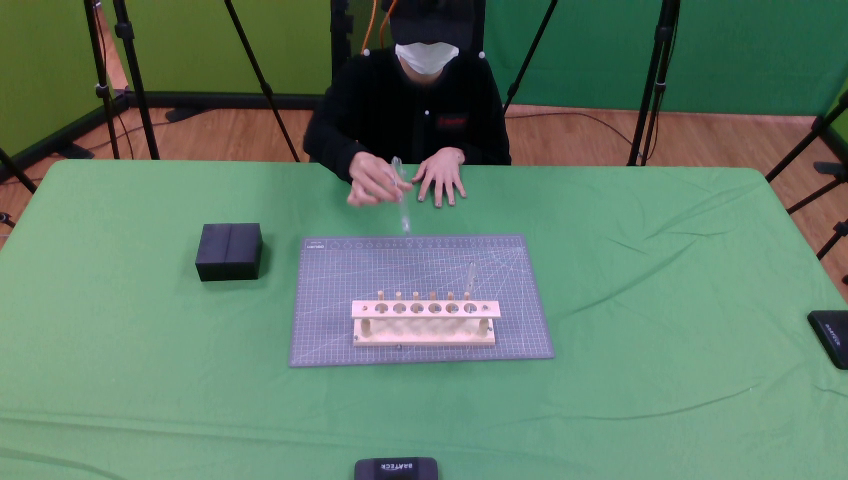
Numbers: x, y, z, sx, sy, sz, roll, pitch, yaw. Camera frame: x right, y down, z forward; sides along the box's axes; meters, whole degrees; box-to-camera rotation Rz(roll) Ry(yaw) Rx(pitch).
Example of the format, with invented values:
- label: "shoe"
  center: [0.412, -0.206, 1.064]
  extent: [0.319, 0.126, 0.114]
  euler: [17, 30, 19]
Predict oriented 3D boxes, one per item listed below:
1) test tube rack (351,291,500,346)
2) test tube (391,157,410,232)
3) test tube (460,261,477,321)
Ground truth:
- label: "test tube rack"
  center: [0.000, 0.129, 1.026]
  extent: [0.242, 0.085, 0.066]
  euler: [1, 46, -4]
- label: "test tube"
  center: [-0.037, -0.070, 0.977]
  extent: [0.017, 0.151, 0.017]
  euler: [-4, 43, 4]
- label: "test tube"
  center: [0.073, 0.087, 1.010]
  extent: [0.017, 0.151, 0.017]
  euler: [2, 47, -2]
